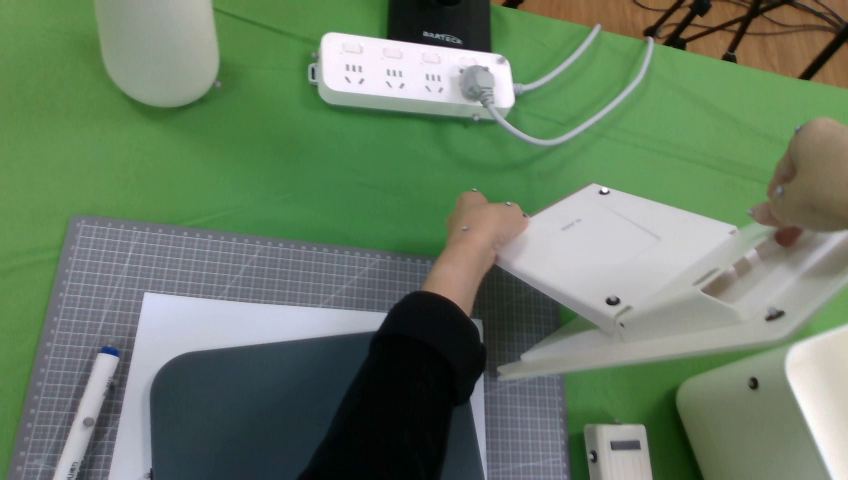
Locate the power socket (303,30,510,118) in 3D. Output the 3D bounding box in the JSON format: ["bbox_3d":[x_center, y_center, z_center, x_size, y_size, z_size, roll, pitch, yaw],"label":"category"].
[{"bbox_3d":[-0.012,-0.174,0.643,0.228,0.032,0.071,2,70,-18],"label":"power socket"}]

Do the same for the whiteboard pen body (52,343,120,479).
[{"bbox_3d":[-0.252,0.145,0.442,0.017,0.017,0.140,14,68,-12],"label":"whiteboard pen body"}]

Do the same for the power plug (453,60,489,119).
[{"bbox_3d":[0.046,-0.153,0.629,0.035,0.053,0.072,11,73,-14],"label":"power plug"}]

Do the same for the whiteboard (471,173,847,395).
[{"bbox_3d":[0.175,-0.009,0.487,0.217,0.306,0.143,-28,83,-27],"label":"whiteboard"}]

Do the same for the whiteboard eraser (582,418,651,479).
[{"bbox_3d":[0.176,0.220,0.550,0.056,0.042,0.112,5,69,-19],"label":"whiteboard eraser"}]

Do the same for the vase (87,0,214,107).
[{"bbox_3d":[-0.224,-0.195,0.487,0.098,0.200,0.097,6,67,-15],"label":"vase"}]

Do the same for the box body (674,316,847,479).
[{"bbox_3d":[0.422,0.253,0.552,0.255,0.161,0.362,-12,74,-22],"label":"box body"}]

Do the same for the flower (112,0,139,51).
[{"bbox_3d":[-0.181,-0.213,0.417,0.044,0.360,0.038,-43,104,-36],"label":"flower"}]

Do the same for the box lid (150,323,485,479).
[{"bbox_3d":[-0.065,0.252,0.473,0.264,0.015,0.369,-4,72,-20],"label":"box lid"}]
